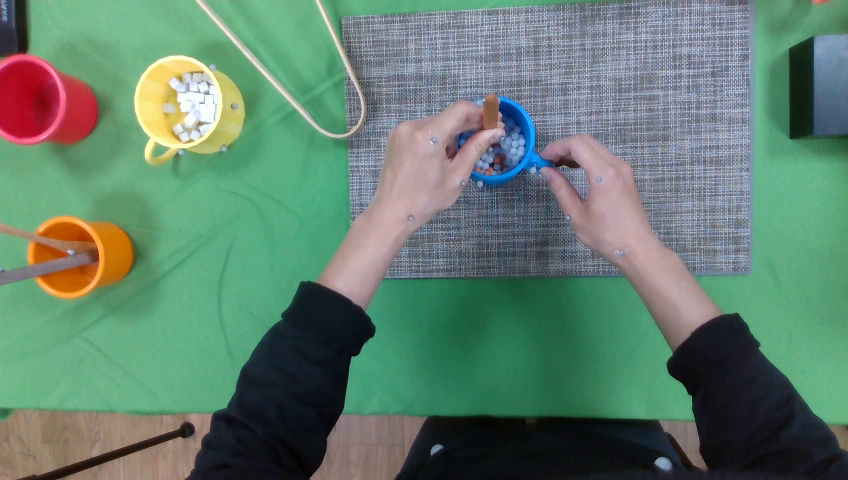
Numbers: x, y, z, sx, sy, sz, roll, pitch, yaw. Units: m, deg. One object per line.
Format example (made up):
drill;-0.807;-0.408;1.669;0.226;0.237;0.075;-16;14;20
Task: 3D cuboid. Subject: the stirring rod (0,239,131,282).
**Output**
stirring rod;-0.421;0.027;0.675;0.176;0.006;0.014;-18;88;-36

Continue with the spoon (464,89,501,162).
spoon;0.059;-0.103;0.569;0.041;0.194;0.021;-14;86;1

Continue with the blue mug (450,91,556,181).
blue mug;0.085;-0.099;0.638;0.116;0.106;0.082;25;95;2

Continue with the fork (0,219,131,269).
fork;-0.431;-0.007;0.667;0.209;0.018;0.028;25;92;-41

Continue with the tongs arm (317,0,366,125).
tongs arm;-0.149;-0.309;0.662;0.028;0.027;0.388;-26;99;-2

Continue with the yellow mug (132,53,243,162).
yellow mug;-0.274;-0.141;0.687;0.100;0.064;0.131;37;97;1

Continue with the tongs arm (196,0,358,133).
tongs arm;-0.218;-0.262;0.668;0.051;0.026;0.386;-40;97;3
